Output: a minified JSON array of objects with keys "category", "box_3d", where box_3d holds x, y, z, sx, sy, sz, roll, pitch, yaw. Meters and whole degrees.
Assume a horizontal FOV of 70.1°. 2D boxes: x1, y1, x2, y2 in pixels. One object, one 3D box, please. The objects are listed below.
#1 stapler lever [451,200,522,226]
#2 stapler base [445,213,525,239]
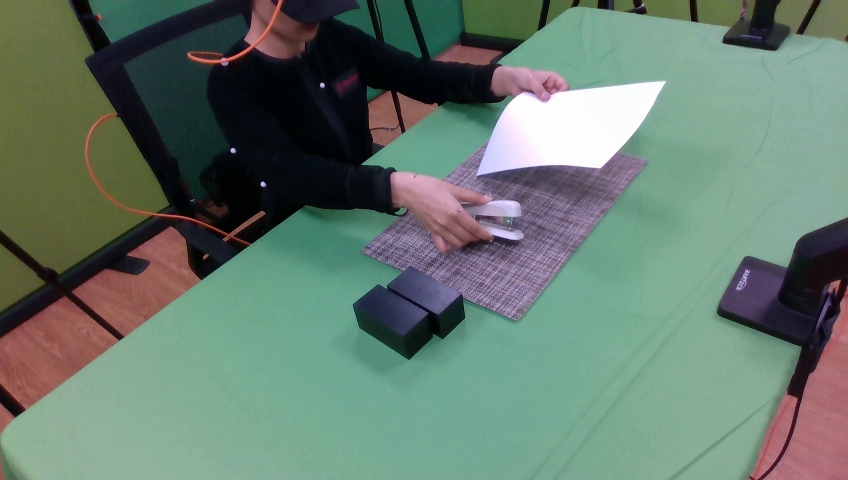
[{"category":"stapler lever","box_3d":[0.101,-0.051,0.964,0.117,0.040,0.027,15,12,29]},{"category":"stapler base","box_3d":[0.099,-0.027,0.969,0.129,0.024,0.041,14,11,29]}]
